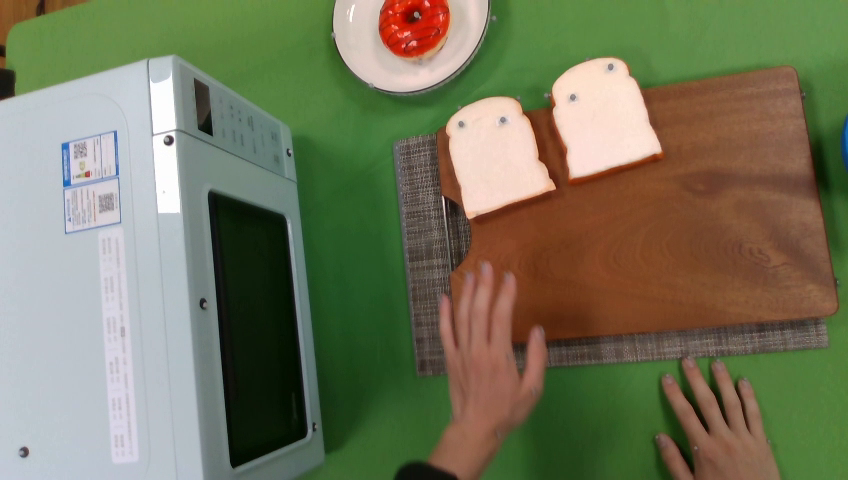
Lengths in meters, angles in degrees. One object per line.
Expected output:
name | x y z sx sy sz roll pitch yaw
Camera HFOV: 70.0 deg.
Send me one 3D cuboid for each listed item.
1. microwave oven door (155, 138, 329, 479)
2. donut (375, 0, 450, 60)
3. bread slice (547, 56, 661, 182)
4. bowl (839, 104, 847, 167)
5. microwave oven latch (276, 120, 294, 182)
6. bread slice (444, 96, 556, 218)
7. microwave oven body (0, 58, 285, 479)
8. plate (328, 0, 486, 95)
microwave oven door | -0.189 0.090 0.660 0.039 0.245 0.354 -11 81 14
donut | -0.016 -0.275 0.762 0.099 0.048 0.099 -2 84 18
bread slice | 0.194 -0.141 0.684 0.105 0.019 0.131 -18 80 11
bowl | 0.485 -0.100 0.598 0.151 0.077 0.151 -2 84 15
microwave oven latch | -0.190 -0.113 0.787 0.030 0.029 0.079 -10 83 14
bread slice | 0.079 -0.101 0.710 0.107 0.018 0.133 -22 78 11
microwave oven body | -0.333 0.075 0.706 0.325 0.261 0.440 -10 82 14
plate | -0.021 -0.284 0.777 0.207 0.039 0.207 -2 84 15
